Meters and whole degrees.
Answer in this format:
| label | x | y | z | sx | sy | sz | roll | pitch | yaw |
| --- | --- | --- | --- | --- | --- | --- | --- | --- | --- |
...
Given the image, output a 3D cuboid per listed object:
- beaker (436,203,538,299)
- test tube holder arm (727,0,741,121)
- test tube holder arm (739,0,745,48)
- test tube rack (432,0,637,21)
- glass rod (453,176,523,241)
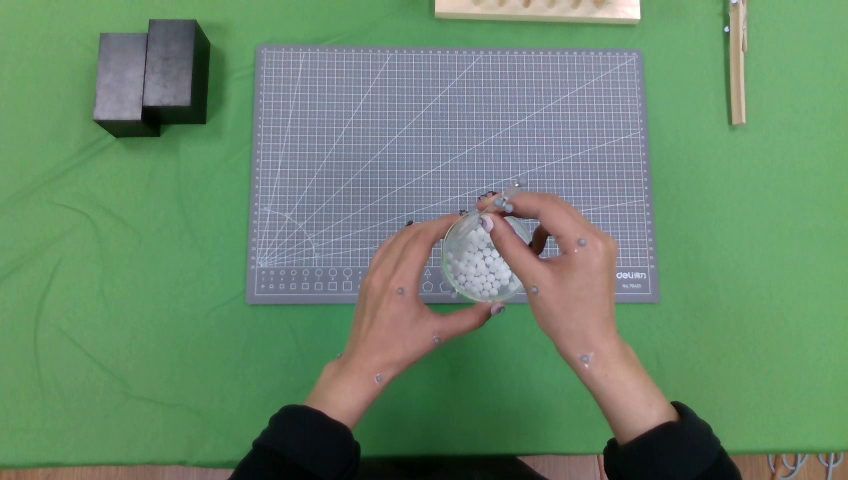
| label | x | y | z | sx | sy | sz | roll | pitch | yaw |
| --- | --- | --- | --- | --- | --- | --- | --- | --- | --- |
| beaker | 0.050 | 0.016 | 0.518 | 0.084 | 0.100 | 0.074 | 22 | 84 | 2 |
| test tube holder arm | 0.366 | -0.227 | 0.713 | 0.013 | 0.015 | 0.177 | 11 | 79 | -29 |
| test tube holder arm | 0.375 | -0.270 | 0.724 | 0.010 | 0.015 | 0.087 | 12 | 78 | -29 |
| test tube rack | 0.132 | -0.305 | 0.687 | 0.242 | 0.085 | 0.066 | 1 | 80 | -2 |
| glass rod | 0.043 | -0.018 | 0.459 | 0.008 | 0.200 | 0.008 | 1 | 79 | -8 |
